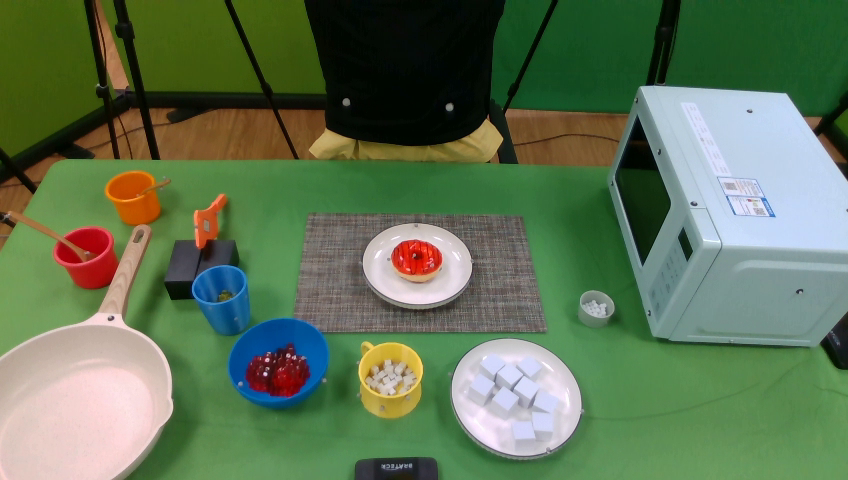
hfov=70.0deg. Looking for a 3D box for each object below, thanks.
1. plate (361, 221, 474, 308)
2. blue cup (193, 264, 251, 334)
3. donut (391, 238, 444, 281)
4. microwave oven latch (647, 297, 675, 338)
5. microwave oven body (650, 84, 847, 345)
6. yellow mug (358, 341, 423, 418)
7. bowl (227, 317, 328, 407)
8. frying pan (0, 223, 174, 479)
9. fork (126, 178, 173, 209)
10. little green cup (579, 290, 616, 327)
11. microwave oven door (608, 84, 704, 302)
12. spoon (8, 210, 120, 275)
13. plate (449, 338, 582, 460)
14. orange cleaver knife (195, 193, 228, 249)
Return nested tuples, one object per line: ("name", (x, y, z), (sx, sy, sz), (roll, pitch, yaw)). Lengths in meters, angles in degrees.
("plate", (-0.011, 0.049, 1.130), (0.209, 0.038, 0.208), (2, 46, -2))
("blue cup", (-0.331, 0.105, 1.015), (0.092, 0.101, 0.092), (1, 45, -1))
("donut", (-0.012, 0.035, 1.128), (0.099, 0.048, 0.098), (3, 43, -3))
("microwave oven latch", (0.413, 0.133, 1.060), (0.030, 0.029, 0.078), (5, 46, 2))
("microwave oven body", (0.569, -0.054, 1.116), (0.326, 0.261, 0.439), (2, 46, -1))
("yellow mug", (-0.063, 0.210, 0.961), (0.100, 0.064, 0.130), (-29, 54, -27))
("bowl", (-0.222, 0.203, 0.947), (0.151, 0.077, 0.150), (2, 46, -2))
("frying pan", (-0.505, 0.169, 0.941), (0.307, 0.103, 0.485), (5, 54, -1))
("fork", (-0.524, -0.089, 1.154), (0.207, 0.019, 0.028), (-18, 25, 46))
("little green cup", (0.309, 0.124, 1.086), (0.061, 0.039, 0.061), (2, 44, -1))
("microwave oven door", (0.424, -0.096, 1.138), (0.039, 0.245, 0.353), (2, 46, -1))
("spoon", (-0.628, 0.002, 1.063), (0.195, 0.021, 0.041), (40, 41, -27))
("plate", (0.141, 0.251, 0.955), (0.208, 0.039, 0.206), (2, 47, -2))
("orange cleaver knife", (-0.406, -0.041, 1.163), (0.012, 0.077, 0.210), (-1, 18, -3))
